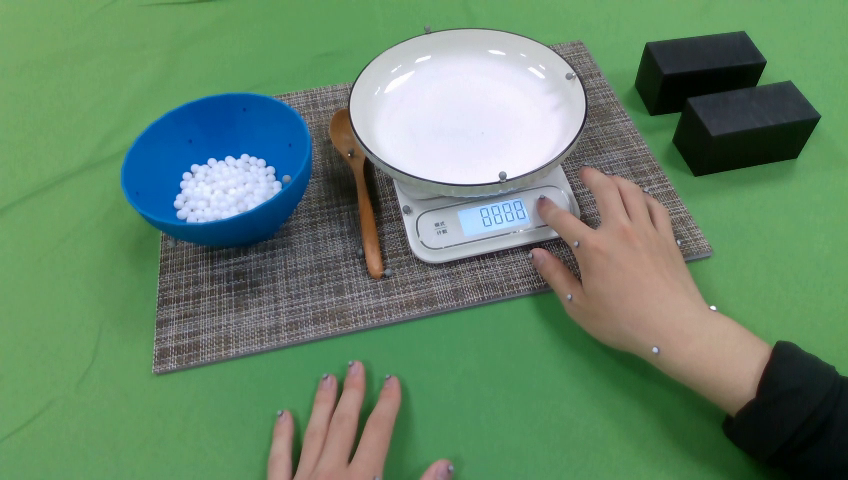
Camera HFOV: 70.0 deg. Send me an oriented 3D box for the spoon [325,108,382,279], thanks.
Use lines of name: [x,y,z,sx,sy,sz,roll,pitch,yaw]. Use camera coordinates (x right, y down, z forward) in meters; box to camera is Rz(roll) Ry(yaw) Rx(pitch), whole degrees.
spoon: [-0.060,-0.048,0.542,0.042,0.022,0.191,-3,52,-16]

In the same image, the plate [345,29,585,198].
plate: [0.035,-0.112,0.539,0.209,0.038,0.207,-1,53,2]

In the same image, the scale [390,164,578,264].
scale: [0.041,-0.075,0.551,0.149,0.032,0.198,-12,54,-5]

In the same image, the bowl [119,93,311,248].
bowl: [-0.164,-0.046,0.513,0.151,0.077,0.150,-1,53,2]
